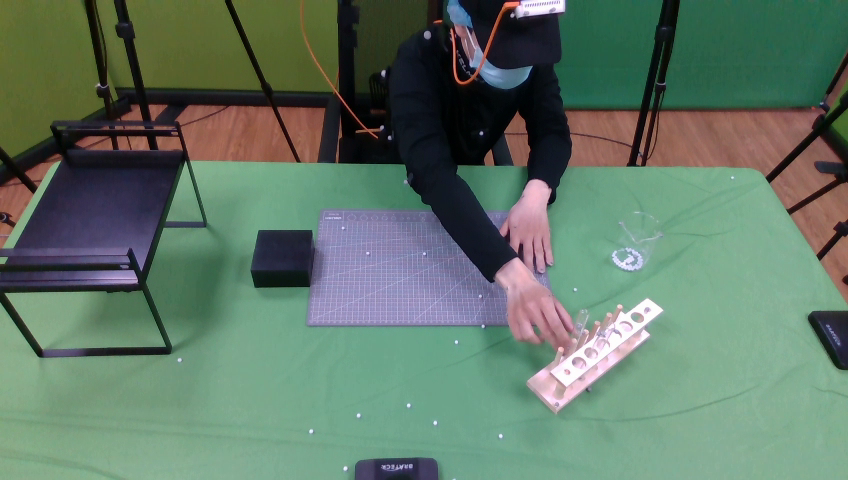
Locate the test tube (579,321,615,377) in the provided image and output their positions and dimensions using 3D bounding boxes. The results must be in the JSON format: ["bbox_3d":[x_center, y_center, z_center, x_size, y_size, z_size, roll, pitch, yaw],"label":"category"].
[{"bbox_3d":[0.265,0.172,0.941,0.017,0.151,0.017,4,49,-4],"label":"test tube"}]

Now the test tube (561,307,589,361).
[{"bbox_3d":[0.240,0.154,0.964,0.017,0.151,0.017,1,48,-1],"label":"test tube"}]

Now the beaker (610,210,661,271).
[{"bbox_3d":[0.405,0.005,1.169,0.074,0.101,0.083,20,49,15],"label":"beaker"}]

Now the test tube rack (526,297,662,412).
[{"bbox_3d":[0.284,0.176,1.007,0.242,0.085,0.066,-28,54,-27],"label":"test tube rack"}]
